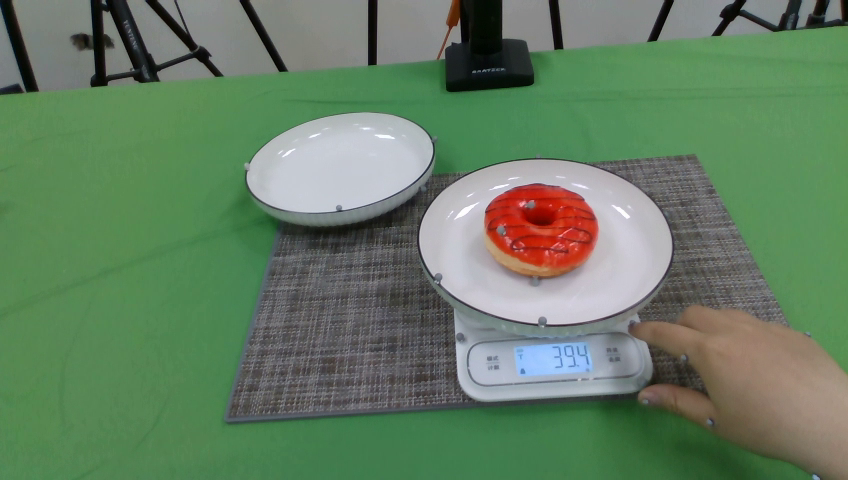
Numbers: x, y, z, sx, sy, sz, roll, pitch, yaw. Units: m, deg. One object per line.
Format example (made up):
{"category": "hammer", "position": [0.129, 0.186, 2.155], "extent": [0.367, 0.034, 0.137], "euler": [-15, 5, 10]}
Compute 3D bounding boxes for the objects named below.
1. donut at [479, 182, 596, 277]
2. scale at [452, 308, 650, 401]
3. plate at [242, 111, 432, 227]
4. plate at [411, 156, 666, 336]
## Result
{"category": "donut", "position": [0.095, -0.009, 0.511], "extent": [0.099, 0.049, 0.098], "euler": [-1, 44, 2]}
{"category": "scale", "position": [0.097, 0.043, 0.520], "extent": [0.148, 0.032, 0.199], "euler": [-4, 43, 3]}
{"category": "plate", "position": [-0.094, -0.078, 0.675], "extent": [0.209, 0.038, 0.207], "euler": [-4, 40, 4]}
{"category": "plate", "position": [0.093, 0.003, 0.515], "extent": [0.207, 0.039, 0.205], "euler": [-3, 43, 3]}
